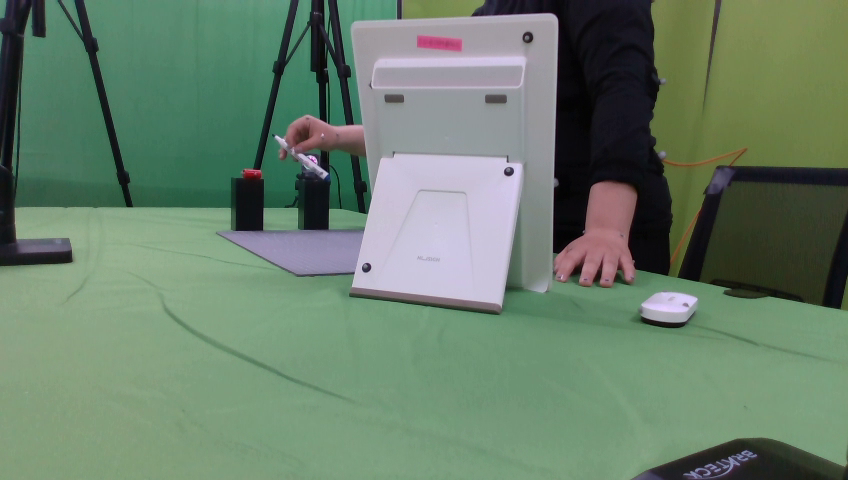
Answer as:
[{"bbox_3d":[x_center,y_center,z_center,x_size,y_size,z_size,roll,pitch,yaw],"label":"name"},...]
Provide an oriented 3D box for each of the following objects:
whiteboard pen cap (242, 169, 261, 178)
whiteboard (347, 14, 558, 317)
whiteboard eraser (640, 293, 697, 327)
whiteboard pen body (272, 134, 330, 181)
[{"bbox_3d":[-0.327,-0.126,1.144,0.032,0.017,0.017,-1,8,-36],"label":"whiteboard pen cap"},{"bbox_3d":[0.012,-0.056,0.608,0.216,0.305,0.144,5,27,20],"label":"whiteboard"},{"bbox_3d":[0.240,0.066,0.590,0.041,0.019,0.102,6,7,31],"label":"whiteboard eraser"},{"bbox_3d":[-0.243,-0.164,1.189,0.140,0.017,0.017,38,7,-3],"label":"whiteboard pen body"}]
